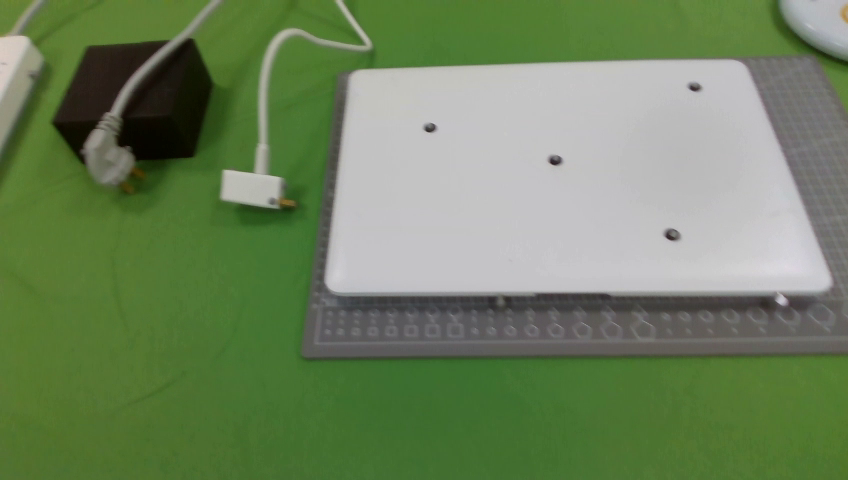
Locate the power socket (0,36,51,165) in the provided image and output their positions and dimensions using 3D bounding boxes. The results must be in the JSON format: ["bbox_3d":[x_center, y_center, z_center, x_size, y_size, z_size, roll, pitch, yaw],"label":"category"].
[{"bbox_3d":[-0.414,-0.112,0.557,0.072,0.033,0.224,-3,54,1],"label":"power socket"}]

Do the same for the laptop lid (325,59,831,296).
[{"bbox_3d":[0.107,-0.060,0.481,0.356,0.013,0.239,1,57,4],"label":"laptop lid"}]

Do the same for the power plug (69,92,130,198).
[{"bbox_3d":[-0.268,-0.071,0.480,0.035,0.073,0.052,-2,41,43],"label":"power plug"}]

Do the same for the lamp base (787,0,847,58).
[{"bbox_3d":[0.437,-0.275,0.526,0.159,0.182,0.178,29,59,22],"label":"lamp base"}]

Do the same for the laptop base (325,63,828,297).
[{"bbox_3d":[0.108,-0.055,0.492,0.354,0.023,0.233,0,58,3],"label":"laptop base"}]

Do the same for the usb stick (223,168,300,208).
[{"bbox_3d":[-0.129,-0.040,0.488,0.059,0.021,0.027,11,92,-2],"label":"usb stick"}]
